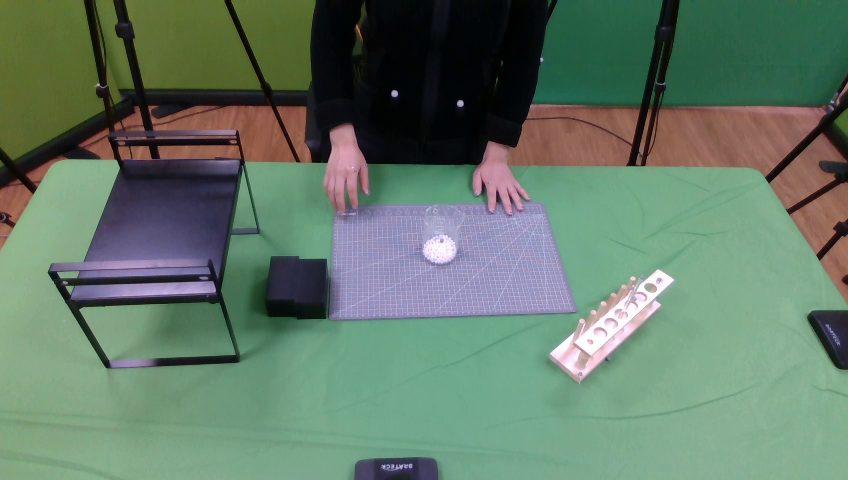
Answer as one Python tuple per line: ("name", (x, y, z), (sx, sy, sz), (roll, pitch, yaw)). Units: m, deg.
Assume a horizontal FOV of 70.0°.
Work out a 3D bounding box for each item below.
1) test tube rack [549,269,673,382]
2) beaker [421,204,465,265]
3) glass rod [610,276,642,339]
("test tube rack", (0.325, 0.134, 1.047), (0.242, 0.085, 0.066), (-32, 56, -30))
("beaker", (0.034, -0.008, 1.151), (0.084, 0.101, 0.073), (-10, 48, -13))
("glass rod", (0.322, 0.113, 0.976), (0.008, 0.201, 0.008), (-1, 54, 1))
